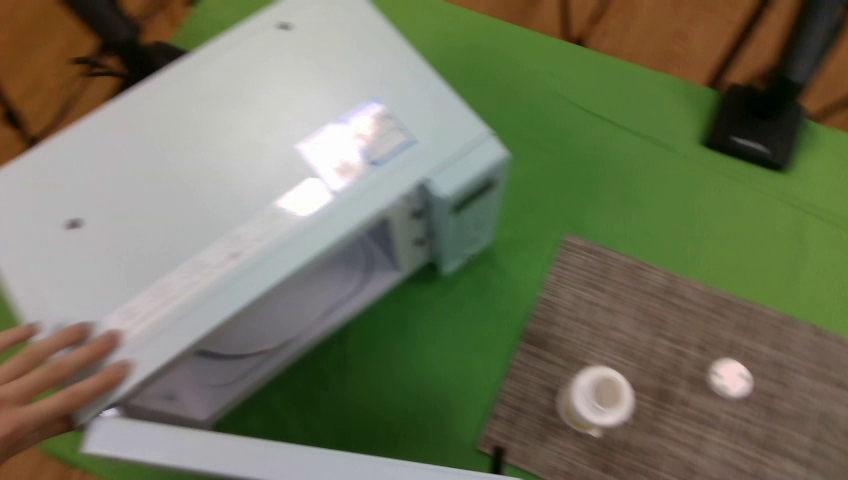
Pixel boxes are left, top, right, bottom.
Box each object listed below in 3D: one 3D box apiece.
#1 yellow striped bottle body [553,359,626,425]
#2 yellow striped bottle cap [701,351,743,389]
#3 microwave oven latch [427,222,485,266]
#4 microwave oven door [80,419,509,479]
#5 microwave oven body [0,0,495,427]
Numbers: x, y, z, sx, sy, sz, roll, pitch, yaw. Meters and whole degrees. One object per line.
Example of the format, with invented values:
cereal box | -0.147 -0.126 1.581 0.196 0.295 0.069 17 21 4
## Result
yellow striped bottle body | 0.184 0.169 0.672 0.063 0.121 0.062 -1 69 2
yellow striped bottle cap | 0.359 0.156 0.729 0.044 0.019 0.044 -1 69 3
microwave oven latch | 0.040 -0.002 0.770 0.079 0.030 0.030 -37 73 -11
microwave oven door | -0.097 0.215 0.584 0.355 0.245 0.039 6 69 4
microwave oven body | -0.194 -0.035 0.685 0.441 0.262 0.324 -38 74 -11
